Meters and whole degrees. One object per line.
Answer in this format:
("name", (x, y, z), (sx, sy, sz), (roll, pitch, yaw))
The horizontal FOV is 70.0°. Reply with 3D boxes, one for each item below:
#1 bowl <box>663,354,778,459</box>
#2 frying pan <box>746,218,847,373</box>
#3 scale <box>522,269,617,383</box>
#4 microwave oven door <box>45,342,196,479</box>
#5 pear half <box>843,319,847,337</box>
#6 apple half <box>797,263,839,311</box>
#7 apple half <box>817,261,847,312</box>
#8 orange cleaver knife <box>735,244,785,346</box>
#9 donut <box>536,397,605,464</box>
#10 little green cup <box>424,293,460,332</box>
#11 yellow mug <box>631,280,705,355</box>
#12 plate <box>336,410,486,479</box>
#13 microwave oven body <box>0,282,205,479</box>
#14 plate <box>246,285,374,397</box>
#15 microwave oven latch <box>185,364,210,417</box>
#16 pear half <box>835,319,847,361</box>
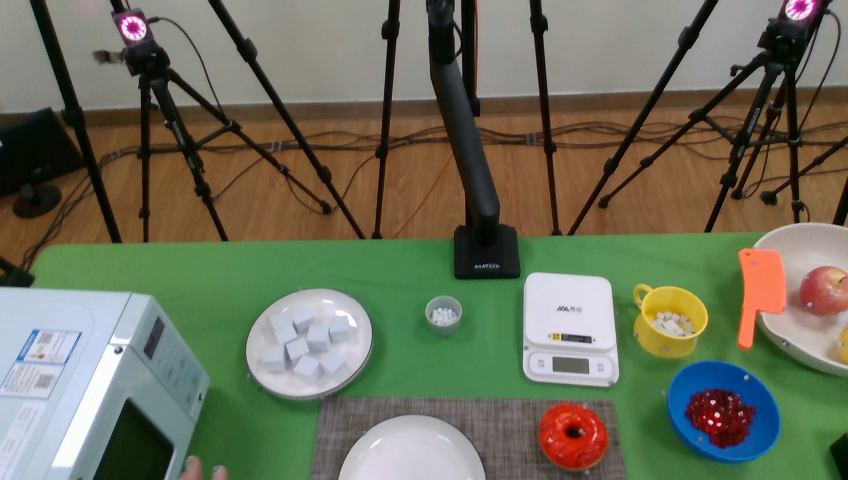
("bowl", (0.414, 0.249, 0.870), (0.151, 0.077, 0.150), (-2, 51, 3))
("frying pan", (0.706, 0.153, 0.913), (0.307, 0.104, 0.482), (-22, 45, -12))
("scale", (0.238, 0.137, 1.004), (0.148, 0.032, 0.199), (3, 51, 7))
("microwave oven door", (-0.382, 0.334, 0.721), (0.039, 0.246, 0.352), (1, 51, 5))
("pear half", (0.693, 0.134, 0.933), (0.070, 0.089, 0.031), (29, 60, 27))
("apple half", (0.632, 0.081, 0.989), (0.033, 0.082, 0.080), (-5, 50, -5))
("apple half", (0.670, 0.077, 0.992), (0.053, 0.075, 0.080), (-6, 47, -5))
("orange cleaver knife", (0.530, 0.083, 0.959), (0.077, 0.012, 0.210), (14, 54, 16))
("donut", (0.212, 0.275, 0.879), (0.099, 0.049, 0.098), (-3, 51, 4))
("little green cup", (0.031, 0.125, 1.023), (0.061, 0.039, 0.061), (-2, 50, 3))
("yellow mug", (0.385, 0.116, 0.989), (0.100, 0.064, 0.129), (-26, 53, -16))
("plate", (-0.018, 0.341, 0.844), (0.209, 0.038, 0.207), (-2, 51, 3))
("microwave oven body", (-0.524, 0.301, 0.764), (0.326, 0.262, 0.437), (2, 52, 5))
("plate", (-0.185, 0.168, 1.002), (0.207, 0.039, 0.205), (-2, 50, 2))
("microwave oven latch", (-0.356, 0.230, 0.937), (0.030, 0.030, 0.078), (3, 52, 6))
("pear half", (0.668, 0.149, 0.910), (0.075, 0.111, 0.056), (29, 58, 29))
